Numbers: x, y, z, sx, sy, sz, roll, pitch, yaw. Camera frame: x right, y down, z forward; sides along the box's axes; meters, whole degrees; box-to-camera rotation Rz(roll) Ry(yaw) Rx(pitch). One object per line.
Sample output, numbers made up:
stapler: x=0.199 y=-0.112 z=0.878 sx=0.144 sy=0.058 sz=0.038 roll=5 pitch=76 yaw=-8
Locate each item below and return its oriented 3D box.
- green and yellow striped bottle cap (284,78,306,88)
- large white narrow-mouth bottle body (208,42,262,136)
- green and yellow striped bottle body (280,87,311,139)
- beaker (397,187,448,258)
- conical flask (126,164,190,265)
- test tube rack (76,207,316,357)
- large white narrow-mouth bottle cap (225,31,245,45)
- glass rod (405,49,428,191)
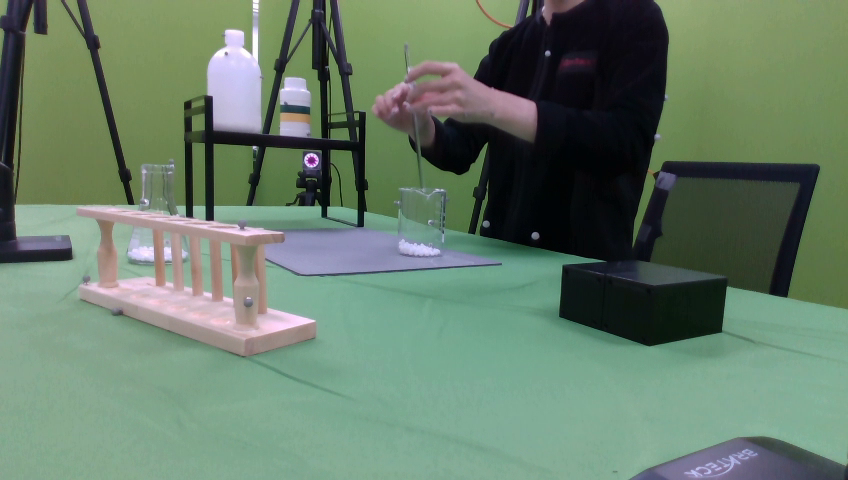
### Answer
green and yellow striped bottle cap: x=-0.268 y=-0.325 z=1.259 sx=0.045 sy=0.020 sz=0.045 roll=5 pitch=8 yaw=0
large white narrow-mouth bottle body: x=-0.369 y=-0.303 z=1.180 sx=0.102 sy=0.194 sz=0.101 roll=3 pitch=9 yaw=0
green and yellow striped bottle body: x=-0.269 y=-0.274 z=1.266 sx=0.063 sy=0.119 sz=0.063 roll=3 pitch=7 yaw=0
beaker: x=-0.002 y=-0.027 z=0.890 sx=0.074 sy=0.100 sz=0.084 roll=0 pitch=8 yaw=-11
conical flask: x=-0.332 y=-0.033 z=0.756 sx=0.075 sy=0.122 sz=0.075 roll=2 pitch=7 yaw=0
test tube rack: x=-0.196 y=0.023 z=0.500 sx=0.241 sy=0.085 sz=0.067 roll=8 pitch=9 yaw=36
large white narrow-mouth bottle cap: x=-0.365 y=-0.389 z=1.166 sx=0.038 sy=0.024 sz=0.037 roll=3 pitch=9 yaw=0
glass rod: x=-0.009 y=-0.168 z=0.861 sx=0.008 sy=0.199 sz=0.008 roll=-7 pitch=14 yaw=2
